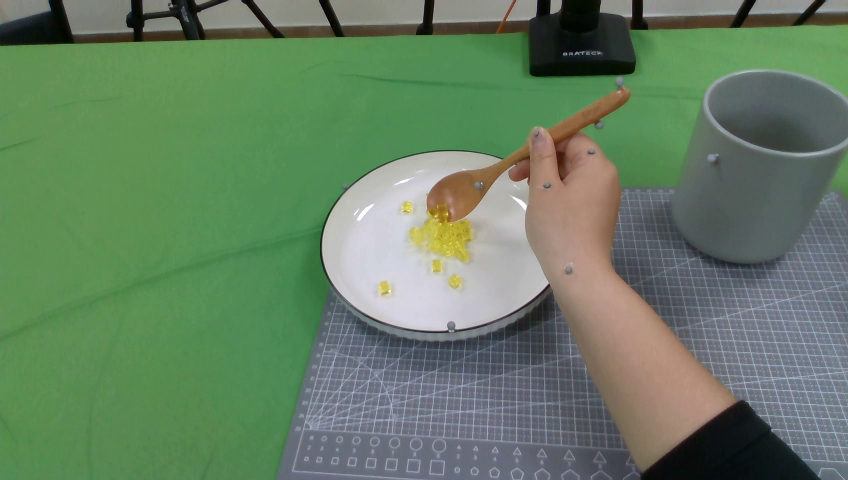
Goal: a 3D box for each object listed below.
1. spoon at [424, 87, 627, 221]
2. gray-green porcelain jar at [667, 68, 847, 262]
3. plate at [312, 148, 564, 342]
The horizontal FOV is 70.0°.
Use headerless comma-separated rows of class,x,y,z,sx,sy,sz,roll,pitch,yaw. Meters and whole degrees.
spoon,0.071,-0.065,0.475,0.022,0.193,0.041,-1,69,-46
gray-green porcelain jar,0.257,-0.053,0.482,0.106,0.128,0.105,-3,48,4
plate,0.011,0.003,0.516,0.207,0.039,0.205,-2,48,3
